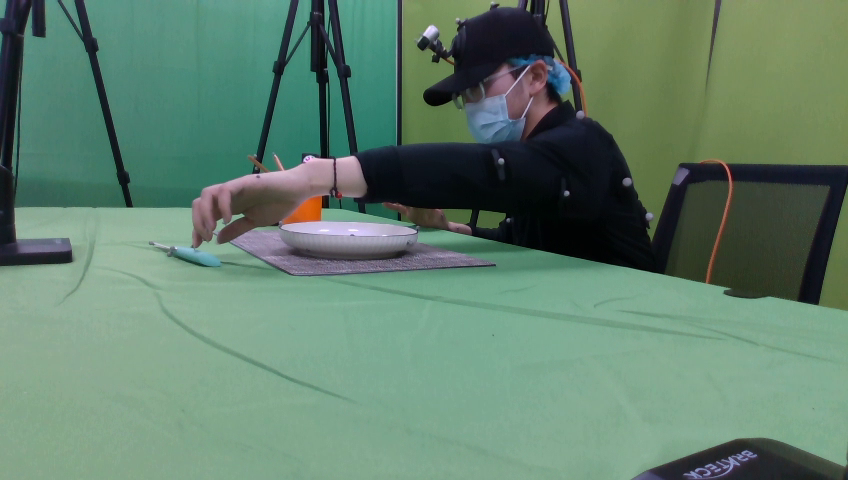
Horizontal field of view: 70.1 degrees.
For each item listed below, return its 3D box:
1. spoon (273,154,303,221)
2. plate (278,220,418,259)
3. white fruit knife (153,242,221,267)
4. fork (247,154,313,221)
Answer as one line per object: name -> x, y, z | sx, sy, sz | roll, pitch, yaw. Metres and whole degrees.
spoon -> -0.280, -0.107, 1.247 | 0.021, 0.193, 0.042 | -28, -29, 10
plate -> -0.114, -0.002, 0.914 | 0.209, 0.038, 0.209 | 2, 7, 0
white fruit knife -> -0.335, 0.016, 0.832 | 0.206, 0.016, 0.027 | 8, -19, 47
fork -> -0.275, -0.096, 1.188 | 0.028, 0.018, 0.208 | 28, -20, 49
